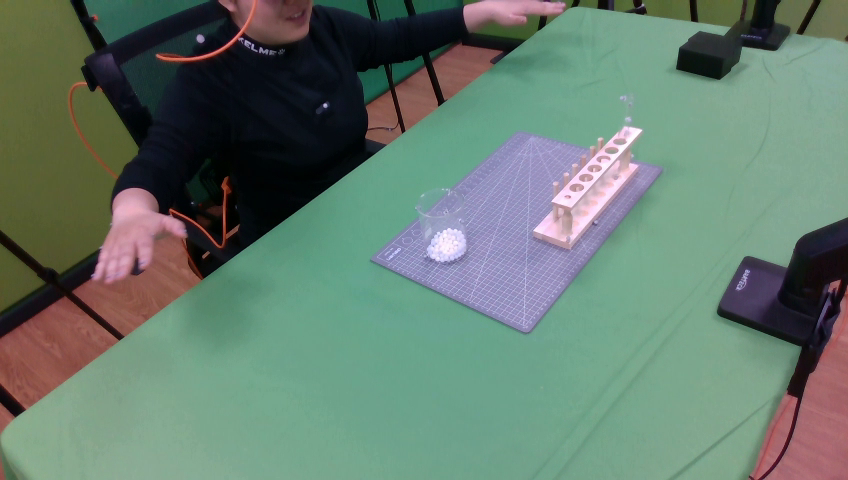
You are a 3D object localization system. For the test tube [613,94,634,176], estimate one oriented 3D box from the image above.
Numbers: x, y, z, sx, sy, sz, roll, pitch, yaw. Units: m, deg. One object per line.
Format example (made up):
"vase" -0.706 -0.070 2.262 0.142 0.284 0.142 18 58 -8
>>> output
"test tube" 0.325 -0.168 0.989 0.017 0.151 0.017 -3 40 3

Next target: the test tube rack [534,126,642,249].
"test tube rack" 0.271 -0.095 0.989 0.066 0.085 0.243 23 49 33

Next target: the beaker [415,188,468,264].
"beaker" 0.031 -0.021 0.937 0.073 0.101 0.084 8 42 20
